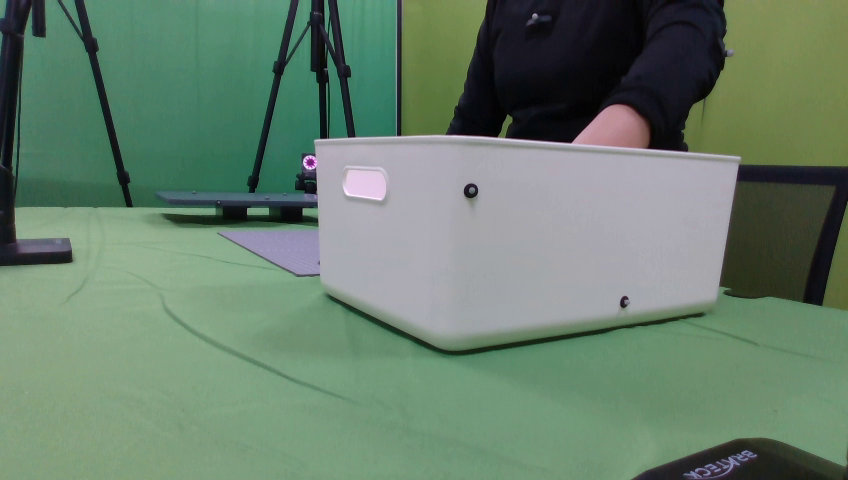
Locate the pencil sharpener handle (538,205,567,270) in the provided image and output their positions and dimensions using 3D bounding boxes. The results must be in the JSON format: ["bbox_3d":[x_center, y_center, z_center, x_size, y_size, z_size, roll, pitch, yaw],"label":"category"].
[{"bbox_3d":[0.137,-0.002,0.620,0.031,0.067,0.036,0,15,-33],"label":"pencil sharpener handle"}]

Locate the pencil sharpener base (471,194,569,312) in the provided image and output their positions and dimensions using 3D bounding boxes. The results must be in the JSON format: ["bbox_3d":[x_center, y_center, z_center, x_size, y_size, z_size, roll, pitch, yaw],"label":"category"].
[{"bbox_3d":[0.095,0.011,0.592,0.077,0.107,0.061,0,7,-33],"label":"pencil sharpener base"}]

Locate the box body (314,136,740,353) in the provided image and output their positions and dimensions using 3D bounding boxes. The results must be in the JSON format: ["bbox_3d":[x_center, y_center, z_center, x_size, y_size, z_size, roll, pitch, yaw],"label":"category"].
[{"bbox_3d":[0.098,-0.012,0.605,0.366,0.160,0.253,-2,8,-33],"label":"box body"}]

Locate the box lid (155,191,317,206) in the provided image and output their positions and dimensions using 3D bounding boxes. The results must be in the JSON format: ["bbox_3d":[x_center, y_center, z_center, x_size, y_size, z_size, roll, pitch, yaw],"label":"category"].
[{"bbox_3d":[-0.387,-0.091,1.340,0.373,0.015,0.262,-1,8,-30],"label":"box lid"}]
